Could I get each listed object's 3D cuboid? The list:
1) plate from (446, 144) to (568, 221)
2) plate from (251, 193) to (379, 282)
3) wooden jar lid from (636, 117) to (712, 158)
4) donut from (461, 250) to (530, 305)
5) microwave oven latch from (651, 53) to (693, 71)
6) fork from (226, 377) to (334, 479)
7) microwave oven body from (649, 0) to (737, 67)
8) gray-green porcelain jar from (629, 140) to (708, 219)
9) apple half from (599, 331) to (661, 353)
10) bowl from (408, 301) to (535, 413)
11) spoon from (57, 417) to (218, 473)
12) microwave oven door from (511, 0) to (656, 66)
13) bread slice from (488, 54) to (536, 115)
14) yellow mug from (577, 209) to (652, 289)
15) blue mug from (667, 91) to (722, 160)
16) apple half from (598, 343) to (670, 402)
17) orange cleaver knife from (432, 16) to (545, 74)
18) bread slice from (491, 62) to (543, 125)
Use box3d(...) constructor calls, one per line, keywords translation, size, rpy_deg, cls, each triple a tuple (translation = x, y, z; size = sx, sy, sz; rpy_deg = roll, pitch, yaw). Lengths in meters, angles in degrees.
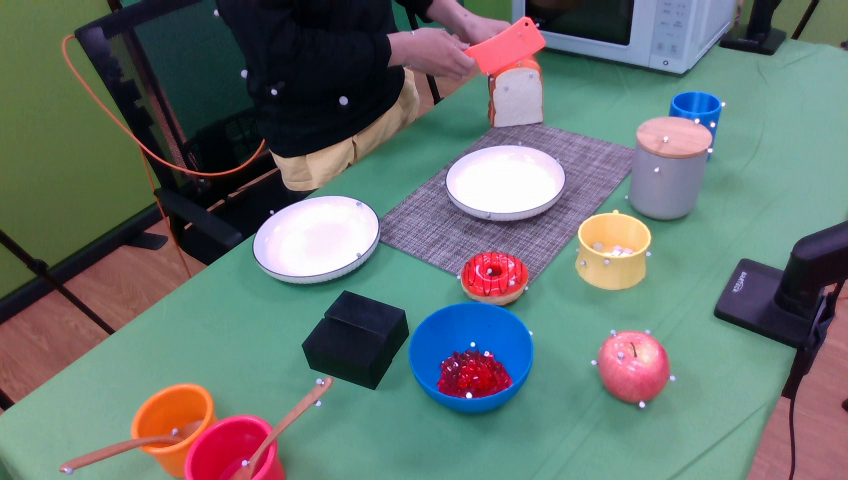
box3d(translation=(0.142, -0.096, 1.045), size=(0.207, 0.039, 0.206), rpy_deg=(-4, 40, 4), cls="plate")
box3d(translation=(-0.174, -0.001, 0.984), size=(0.209, 0.038, 0.208), rpy_deg=(-4, 40, 4), cls="plate")
box3d(translation=(0.377, -0.151, 0.917), size=(0.108, 0.021, 0.108), rpy_deg=(-2, 42, 3), cls="wooden jar lid")
box3d(translation=(0.103, 0.053, 0.872), size=(0.099, 0.048, 0.098), rpy_deg=(-5, 40, 4), cls="donut")
box3d(translation=(0.532, -0.386, 1.301), size=(0.078, 0.029, 0.030), rpy_deg=(26, 52, 34), cls="microwave oven latch")
box3d(translation=(-0.163, 0.216, 0.647), size=(0.207, 0.019, 0.028), rpy_deg=(-49, 41, 16), cls="fork")
box3d(translation=(0.475, -0.602, 1.411), size=(0.438, 0.261, 0.327), rpy_deg=(23, 50, 32), cls="microwave oven body")
box3d(translation=(0.383, -0.105, 0.958), size=(0.106, 0.127, 0.105), rpy_deg=(-4, 41, 4), cls="gray-green porcelain jar")
box3d(translation=(0.249, 0.134, 0.738), size=(0.081, 0.081, 0.032), rpy_deg=(-2, 46, 7), cls="apple half")
box3d(translation=(0.060, 0.156, 0.739), size=(0.151, 0.077, 0.150), rpy_deg=(-4, 40, 4), cls="bowl")
box3d(translation=(-0.304, 0.221, 0.661), size=(0.041, 0.195, 0.021), rpy_deg=(19, 92, 27), cls="spoon")
box3d(translation=(0.351, -0.540, 1.349), size=(0.353, 0.245, 0.039), rpy_deg=(24, 50, 31), cls="microwave oven door")
box3d(translation=(0.184, -0.317, 1.230), size=(0.107, 0.135, 0.018), rpy_deg=(-5, 43, 0), cls="bread slice")
box3d(translation=(0.279, 0.004, 0.893), size=(0.099, 0.064, 0.130), rpy_deg=(5, 41, 15), cls="yellow mug")
box3d(translation=(0.474, -0.207, 1.079), size=(0.082, 0.106, 0.116), rpy_deg=(4, 42, 13), cls="blue mug")
box3d(translation=(0.247, 0.161, 0.710), size=(0.081, 0.075, 0.053), rpy_deg=(2, 47, 5), cls="apple half")
box3d(translation=(0.121, -0.354, 1.143), size=(0.211, 0.077, 0.012), rpy_deg=(-19, 34, 12), cls="orange cleaver knife")
box3d(translation=(0.182, -0.287, 1.191), size=(0.105, 0.132, 0.019), rpy_deg=(-7, 44, 4), cls="bread slice")
